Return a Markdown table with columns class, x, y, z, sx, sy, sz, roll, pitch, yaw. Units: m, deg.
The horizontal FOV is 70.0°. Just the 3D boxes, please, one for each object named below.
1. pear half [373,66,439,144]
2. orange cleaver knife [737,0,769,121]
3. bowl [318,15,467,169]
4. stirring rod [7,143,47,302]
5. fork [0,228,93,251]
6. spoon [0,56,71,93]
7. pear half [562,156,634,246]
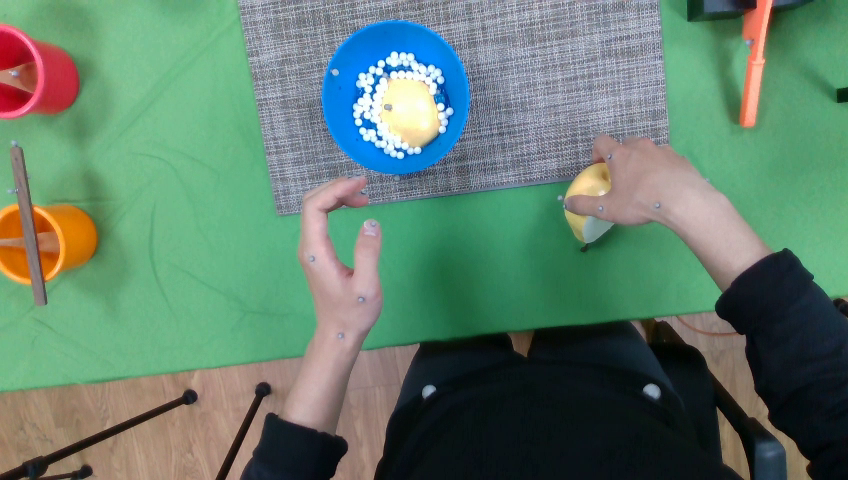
| class | x | y | z | sx | sy | sz | roll | pitch | yaw |
| --- | --- | --- | --- | --- | --- | --- | --- | --- | --- |
| pear half | -0.024 | -0.145 | 0.634 | 0.070 | 0.031 | 0.088 | -34 | 92 | 8 |
| orange cleaver knife | 0.327 | -0.223 | 0.601 | 0.012 | 0.076 | 0.213 | -4 | 128 | 11 |
| bowl | -0.029 | -0.151 | 0.640 | 0.151 | 0.076 | 0.152 | 1 | 100 | 5 |
| stirring rod | -0.433 | -0.017 | 0.661 | 0.014 | 0.006 | 0.176 | -3 | 101 | 2 |
| fork | -0.484 | -0.003 | 0.670 | 0.209 | 0.018 | 0.028 | 3 | 113 | -40 |
| spoon | -0.486 | -0.178 | 0.642 | 0.194 | 0.021 | 0.042 | -10 | 104 | -38 |
| pear half | 0.180 | -0.041 | 0.662 | 0.076 | 0.055 | 0.110 | -14 | 137 | -26 |
